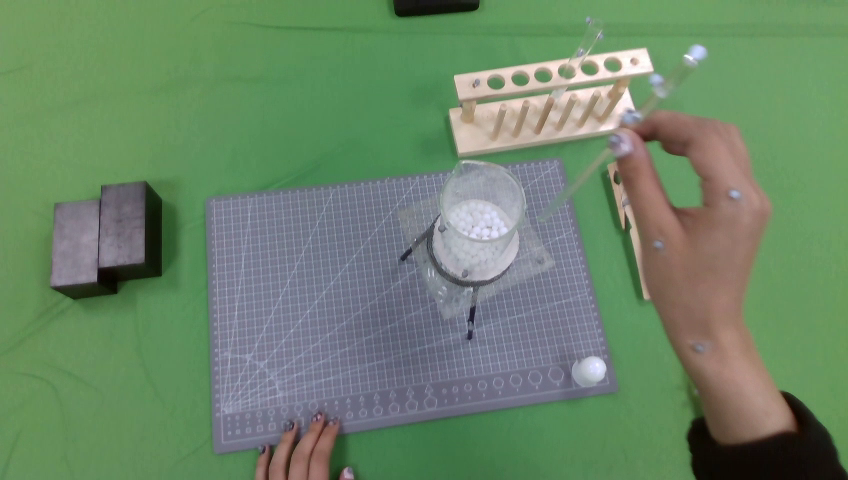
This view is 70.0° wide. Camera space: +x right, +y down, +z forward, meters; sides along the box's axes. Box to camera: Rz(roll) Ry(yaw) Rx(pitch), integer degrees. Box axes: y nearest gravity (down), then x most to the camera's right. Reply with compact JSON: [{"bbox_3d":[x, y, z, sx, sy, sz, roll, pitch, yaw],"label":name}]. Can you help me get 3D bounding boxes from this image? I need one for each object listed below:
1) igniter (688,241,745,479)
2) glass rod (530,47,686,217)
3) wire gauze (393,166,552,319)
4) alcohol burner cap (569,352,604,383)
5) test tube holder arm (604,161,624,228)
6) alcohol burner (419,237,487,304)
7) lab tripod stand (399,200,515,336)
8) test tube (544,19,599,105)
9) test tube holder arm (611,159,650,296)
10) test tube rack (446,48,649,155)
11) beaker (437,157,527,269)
[{"bbox_3d":[0.335,0.133,0.698,0.057,0.025,0.274,7,70,-11],"label":"igniter"},{"bbox_3d":[0.101,-0.054,0.370,0.008,0.200,0.008,4,70,-10],"label":"glass rod"},{"bbox_3d":[0.047,-0.002,0.601,0.121,0.011,0.124,-24,75,-7],"label":"wire gauze"},{"bbox_3d":[0.184,0.140,0.677,0.034,0.048,0.033,1,70,-2],"label":"alcohol burner cap"},{"bbox_3d":[0.243,-0.058,0.766,0.010,0.015,0.087,-18,70,26],"label":"test tube holder arm"},{"bbox_3d":[0.034,0.028,0.671,0.078,0.120,0.077,1,69,-1],"label":"alcohol burner"},{"bbox_3d":[0.039,0.022,0.662,0.148,0.132,0.147,0,71,-1],"label":"lab tripod stand"},{"bbox_3d":[0.173,-0.208,0.726,0.017,0.151,0.017,3,69,-8],"label":"test tube"},{"bbox_3d":[0.254,-0.017,0.750,0.013,0.015,0.177,-18,70,26],"label":"test tube holder arm"},{"bbox_3d":[0.155,-0.174,0.765,0.243,0.085,0.066,-9,71,-6],"label":"test tube rack"},{"bbox_3d":[0.047,-0.021,0.557,0.074,0.101,0.083,-22,72,-8],"label":"beaker"}]
